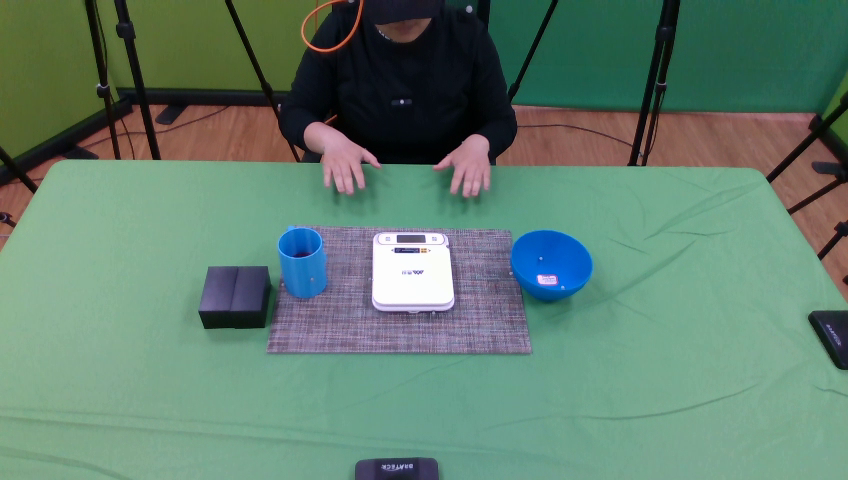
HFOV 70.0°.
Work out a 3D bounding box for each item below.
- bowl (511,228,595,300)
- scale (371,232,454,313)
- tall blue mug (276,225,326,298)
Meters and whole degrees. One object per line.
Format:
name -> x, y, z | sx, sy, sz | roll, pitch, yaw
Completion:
bowl -> 0.230, 0.058, 1.118 | 0.151, 0.077, 0.150 | 2, 46, -2
scale -> -0.023, 0.050, 1.134 | 0.149, 0.032, 0.199 | 1, 46, -4
tall blue mug -> -0.228, 0.033, 1.083 | 0.107, 0.108, 0.077 | 30, 52, 23
